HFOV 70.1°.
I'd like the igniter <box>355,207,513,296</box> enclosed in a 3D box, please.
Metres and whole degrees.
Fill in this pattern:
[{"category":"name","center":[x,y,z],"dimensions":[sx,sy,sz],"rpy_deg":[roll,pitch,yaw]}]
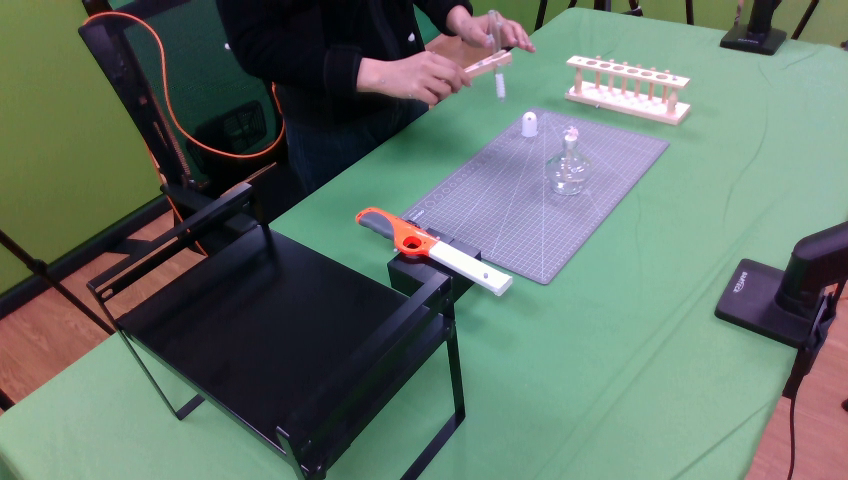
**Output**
[{"category":"igniter","center":[0.006,0.010,0.885],"dimensions":[0.274,0.025,0.057],"rpy_deg":[27,53,30]}]

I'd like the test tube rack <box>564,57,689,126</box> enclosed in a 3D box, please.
[{"category":"test tube rack","center":[0.411,-0.311,1.230],"dimensions":[0.240,0.085,0.067],"rpy_deg":[24,49,32]}]

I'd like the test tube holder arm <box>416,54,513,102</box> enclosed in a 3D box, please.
[{"category":"test tube holder arm","center":[0.068,-0.267,0.991],"dimensions":[0.179,0.015,0.013],"rpy_deg":[-27,34,-13]}]

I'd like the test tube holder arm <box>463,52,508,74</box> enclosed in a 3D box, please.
[{"category":"test tube holder arm","center":[0.103,-0.290,1.007],"dimensions":[0.088,0.015,0.010],"rpy_deg":[-31,36,-19]}]

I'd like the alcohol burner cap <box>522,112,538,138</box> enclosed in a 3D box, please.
[{"category":"alcohol burner cap","center":[0.210,-0.230,1.195],"dimensions":[0.034,0.048,0.033],"rpy_deg":[-5,41,5]}]

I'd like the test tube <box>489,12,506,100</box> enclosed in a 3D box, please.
[{"category":"test tube","center":[0.123,-0.303,1.006],"dimensions":[0.017,0.151,0.017],"rpy_deg":[-8,38,7]}]

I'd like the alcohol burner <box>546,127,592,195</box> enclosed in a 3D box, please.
[{"category":"alcohol burner","center":[0.247,-0.137,1.024],"dimensions":[0.078,0.119,0.077],"rpy_deg":[-4,38,4]}]
